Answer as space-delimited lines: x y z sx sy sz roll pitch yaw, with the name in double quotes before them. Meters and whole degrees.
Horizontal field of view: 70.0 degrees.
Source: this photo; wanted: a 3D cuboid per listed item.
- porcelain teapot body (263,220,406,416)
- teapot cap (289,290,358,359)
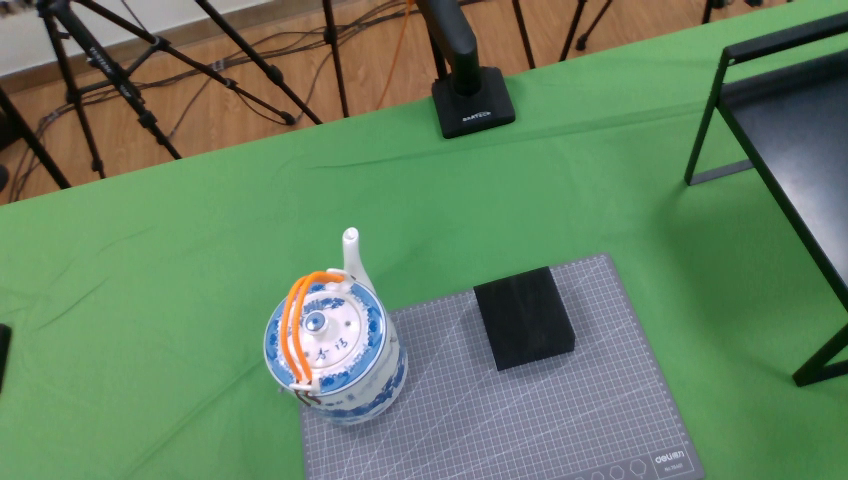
"porcelain teapot body" -0.104 0.084 0.714 0.145 0.227 0.204 4 61 13
"teapot cap" -0.116 0.090 0.667 0.085 0.044 0.084 -7 57 11
